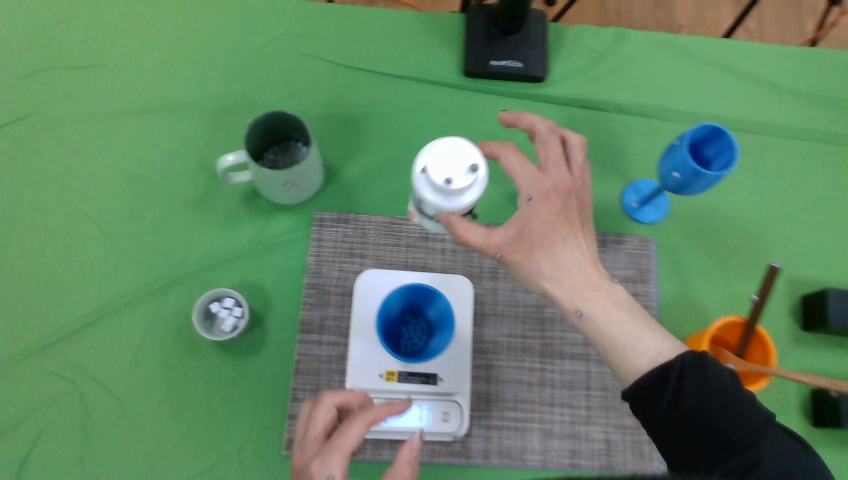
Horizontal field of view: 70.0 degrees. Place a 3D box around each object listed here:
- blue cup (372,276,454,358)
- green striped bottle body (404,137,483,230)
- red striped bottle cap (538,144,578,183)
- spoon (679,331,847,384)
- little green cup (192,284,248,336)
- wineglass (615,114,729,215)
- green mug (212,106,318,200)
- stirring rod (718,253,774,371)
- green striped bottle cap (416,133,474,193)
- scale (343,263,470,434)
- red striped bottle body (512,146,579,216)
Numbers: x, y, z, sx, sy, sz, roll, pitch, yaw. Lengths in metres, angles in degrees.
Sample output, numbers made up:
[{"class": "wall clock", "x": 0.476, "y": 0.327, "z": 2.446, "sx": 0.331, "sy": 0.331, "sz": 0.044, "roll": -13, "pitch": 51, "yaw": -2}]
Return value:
[{"class": "blue cup", "x": -0.017, "y": 0.091, "z": 0.675, "sx": 0.093, "sy": 0.100, "sz": 0.092, "roll": 2, "pitch": 77, "yaw": -6}, {"class": "green striped bottle body", "x": 0.015, "y": -0.049, "z": 0.522, "sx": 0.063, "sy": 0.119, "sz": 0.063, "roll": 1, "pitch": 80, "yaw": -3}, {"class": "red striped bottle cap", "x": 0.158, "y": -0.091, "z": 0.712, "sx": 0.044, "sy": 0.018, "sz": 0.044, "roll": 2, "pitch": 73, "yaw": -5}, {"class": "spoon", "x": 0.399, "y": 0.143, "z": 0.712, "sx": 0.022, "sy": 0.192, "sz": 0.041, "roll": 26, "pitch": 77, "yaw": -43}, {"class": "little green cup", "x": -0.240, "y": 0.086, "z": 0.723, "sx": 0.061, "sy": 0.039, "sz": 0.061, "roll": 2, "pitch": 74, "yaw": -6}, {"class": "wineglass", "x": 0.301, "y": -0.088, "z": 0.752, "sx": 0.074, "sy": 0.173, "sz": 0.073, "roll": 1, "pitch": 74, "yaw": -4}, {"class": "green mug", "x": -0.196, "y": -0.101, "z": 0.744, "sx": 0.125, "sy": 0.105, "sz": 0.092, "roll": -18, "pitch": 77, "yaw": -9}, {"class": "stirring rod", "x": 0.383, "y": 0.091, "z": 0.724, "sx": 0.014, "sy": 0.177, "sz": 0.006, "roll": 8, "pitch": 33, "yaw": 10}, {"class": "green striped bottle cap", "x": 0.016, "y": -0.060, "z": 0.470, "sx": 0.044, "sy": 0.020, "sz": 0.044, "roll": 1, "pitch": 81, "yaw": -5}, {"class": "scale", "x": -0.019, "y": 0.129, "z": 0.732, "sx": 0.149, "sy": 0.031, "sz": 0.200, "roll": 3, "pitch": 75, "yaw": -4}, {"class": "red striped bottle body", "x": 0.154, "y": -0.076, "z": 0.763, "sx": 0.063, "sy": 0.120, "sz": 0.062, "roll": 2, "pitch": 74, "yaw": -5}]
